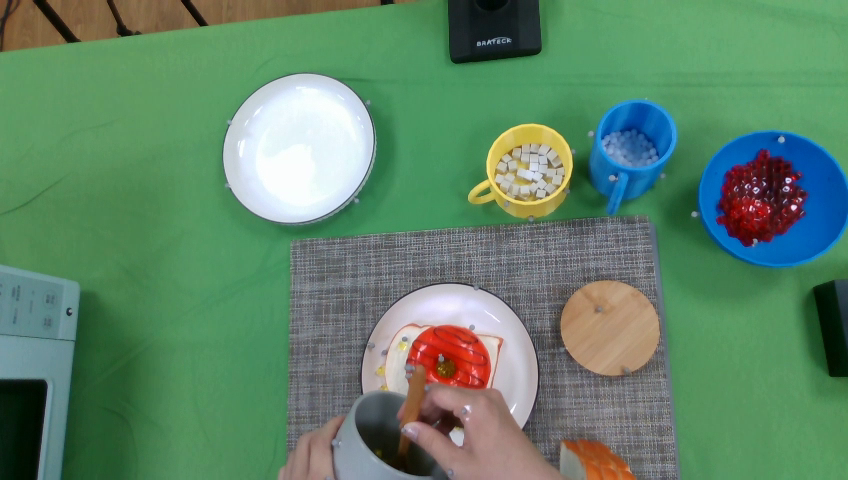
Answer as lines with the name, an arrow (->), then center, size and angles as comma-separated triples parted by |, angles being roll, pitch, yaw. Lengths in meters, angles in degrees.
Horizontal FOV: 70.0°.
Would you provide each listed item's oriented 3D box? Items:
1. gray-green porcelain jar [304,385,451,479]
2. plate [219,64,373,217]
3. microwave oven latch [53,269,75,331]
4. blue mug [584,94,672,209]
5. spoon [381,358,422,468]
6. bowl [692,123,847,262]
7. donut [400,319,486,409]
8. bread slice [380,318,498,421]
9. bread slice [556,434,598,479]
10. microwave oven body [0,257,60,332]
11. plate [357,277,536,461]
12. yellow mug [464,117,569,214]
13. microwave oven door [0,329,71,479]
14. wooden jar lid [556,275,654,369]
gray-green porcelain jar -> -0.050, 0.219, 0.570 | 0.105, 0.106, 0.127 | 36, 111, 15
plate -> -0.166, -0.128, 0.798 | 0.207, 0.039, 0.206 | -2, 79, 9
microwave oven latch -> -0.477, 0.078, 0.788 | 0.030, 0.029, 0.079 | 0, 79, 9
blue mug -> 0.224, -0.091, 0.691 | 0.082, 0.106, 0.116 | 17, 82, 13
spoon -> -0.020, 0.175, 0.549 | 0.041, 0.195, 0.021 | 14, 39, 2
bowl -> 0.369, -0.044, 0.671 | 0.151, 0.077, 0.150 | -2, 78, 10
donut -> 0.021, 0.138, 0.680 | 0.099, 0.048, 0.098 | -1, 79, 6
bread slice -> 0.013, 0.147, 0.712 | 0.131, 0.019, 0.104 | 10, 80, 8
bread slice -> 0.153, 0.258, 0.617 | 0.018, 0.135, 0.106 | 5, 77, 3
microwave oven body -> -0.638, 0.238, 0.682 | 0.325, 0.261, 0.439 | -3, 79, 9
plate -> 0.026, 0.147, 0.706 | 0.209, 0.038, 0.208 | -2, 78, 9
yellow mug -> 0.108, -0.081, 0.729 | 0.131, 0.064, 0.099 | -25, 75, 5
microwave oven door -> -0.494, 0.271, 0.646 | 0.039, 0.245, 0.354 | -3, 78, 9
wooden jar lid -> 0.207, 0.094, 0.696 | 0.108, 0.021, 0.108 | -2, 79, 9
